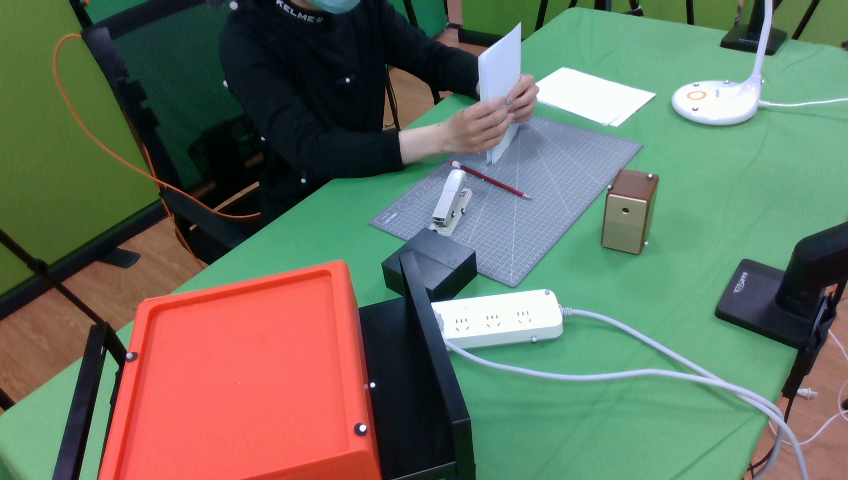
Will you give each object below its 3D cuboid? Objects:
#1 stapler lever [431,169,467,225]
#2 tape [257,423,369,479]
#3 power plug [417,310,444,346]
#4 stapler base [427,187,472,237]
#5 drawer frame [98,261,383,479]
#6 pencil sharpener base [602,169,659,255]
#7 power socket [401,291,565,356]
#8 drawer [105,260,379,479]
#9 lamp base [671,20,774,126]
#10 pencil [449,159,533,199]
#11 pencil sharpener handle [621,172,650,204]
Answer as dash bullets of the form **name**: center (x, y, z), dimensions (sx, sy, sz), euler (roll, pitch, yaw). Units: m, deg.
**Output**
- **stapler lever**: center (0.043, -0.074, 1.010), dimensions (0.026, 0.040, 0.118), euler (9, 44, 21)
- **tape**: center (-0.121, 0.262, 0.660), dimensions (0.117, 0.053, 0.116), euler (-4, 40, 4)
- **power plug**: center (0.006, 0.122, 0.785), dimensions (0.035, 0.053, 0.072), euler (0, 40, 9)
- **stapler base**: center (0.045, -0.057, 1.028), dimensions (0.041, 0.024, 0.130), euler (9, 44, 20)
- **drawer frame**: center (-0.149, 0.129, 0.520), dimensions (0.202, 0.083, 0.212), euler (-12, 41, -6)
- **pencil sharpener base**: center (0.311, -0.044, 0.914), dimensions (0.061, 0.107, 0.077), euler (14, 45, 24)
- **power socket**: center (0.080, 0.112, 0.822), dimensions (0.227, 0.033, 0.072), euler (-6, 41, 0)
- **drawer**: center (-0.150, 0.127, 0.525), dimensions (0.195, 0.073, 0.210), euler (-11, 41, -5)
- **lamp base**: center (0.581, -0.332, 1.154), dimensions (0.179, 0.181, 0.160), euler (2, 41, 7)
- **pencil**: center (0.118, -0.110, 1.091), dimensions (0.192, 0.012, 0.012), euler (30, 53, 33)
- **pencil sharpener handle**: center (0.328, -0.086, 0.941), dimensions (0.036, 0.068, 0.030), euler (30, 49, 7)
